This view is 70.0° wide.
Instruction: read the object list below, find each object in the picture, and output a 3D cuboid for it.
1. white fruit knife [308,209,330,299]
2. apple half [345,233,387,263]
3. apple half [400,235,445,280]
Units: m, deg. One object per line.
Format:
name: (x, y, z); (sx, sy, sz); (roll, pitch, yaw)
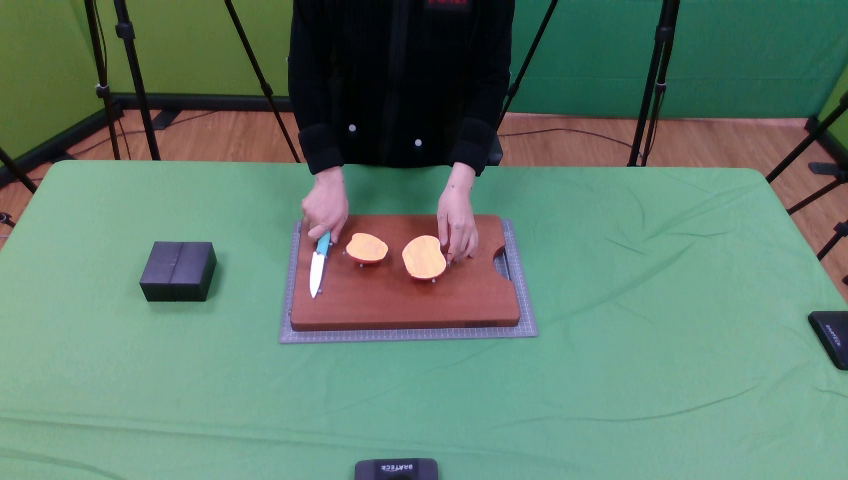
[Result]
white fruit knife: (-0.194, 0.023, 1.120); (0.027, 0.016, 0.206); (0, 52, 1)
apple half: (-0.110, 0.024, 1.121); (0.081, 0.033, 0.081); (13, 36, -10)
apple half: (-0.002, 0.036, 1.099); (0.075, 0.053, 0.080); (-22, 79, -8)
